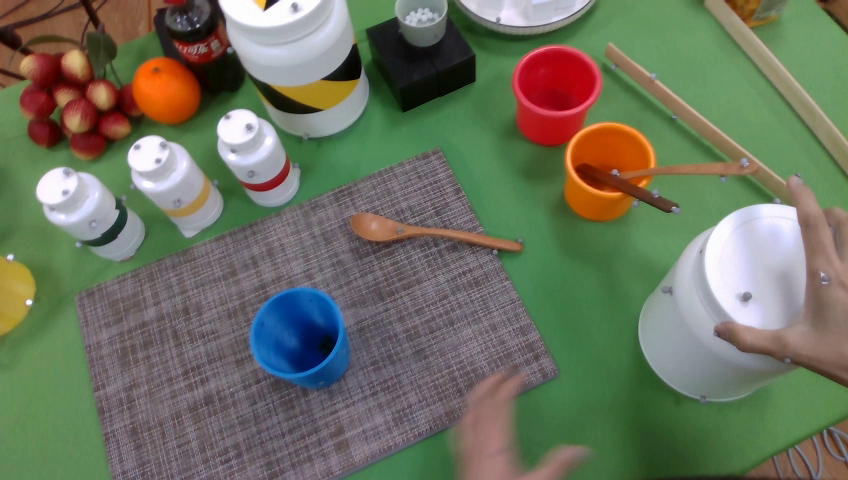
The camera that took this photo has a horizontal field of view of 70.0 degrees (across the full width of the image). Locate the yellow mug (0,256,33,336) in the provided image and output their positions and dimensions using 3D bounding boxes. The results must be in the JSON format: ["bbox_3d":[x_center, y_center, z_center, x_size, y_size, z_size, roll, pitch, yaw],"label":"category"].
[{"bbox_3d":[-0.492,0.068,0.655,0.100,0.064,0.129,-14,66,-3],"label":"yellow mug"}]

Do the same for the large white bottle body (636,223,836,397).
[{"bbox_3d":[0.273,0.059,0.534,0.130,0.186,0.129,-2,65,4],"label":"large white bottle body"}]

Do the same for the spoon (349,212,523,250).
[{"bbox_3d":[0.013,-0.007,0.670,0.193,0.022,0.041,6,42,6],"label":"spoon"}]

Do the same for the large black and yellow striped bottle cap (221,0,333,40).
[{"bbox_3d":[-0.149,-0.252,0.612,0.115,0.019,0.114,-2,66,5],"label":"large black and yellow striped bottle cap"}]

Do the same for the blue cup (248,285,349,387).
[{"bbox_3d":[-0.112,0.102,0.588,0.092,0.101,0.092,-1,65,3],"label":"blue cup"}]

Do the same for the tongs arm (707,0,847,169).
[{"bbox_3d":[0.433,-0.157,0.699,0.028,0.028,0.384,-19,67,-10],"label":"tongs arm"}]

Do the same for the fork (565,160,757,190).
[{"bbox_3d":[0.229,-0.068,0.614,0.206,0.019,0.028,0,56,54],"label":"fork"}]

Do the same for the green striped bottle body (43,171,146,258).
[{"bbox_3d":[-0.361,-0.030,0.659,0.063,0.120,0.062,-2,66,4],"label":"green striped bottle body"}]

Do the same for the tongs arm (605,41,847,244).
[{"bbox_3d":[0.358,-0.113,0.685,0.051,0.027,0.382,-35,69,-13],"label":"tongs arm"}]

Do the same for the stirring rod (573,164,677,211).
[{"bbox_3d":[0.200,-0.057,0.619,0.014,0.006,0.174,-21,23,-8],"label":"stirring rod"}]

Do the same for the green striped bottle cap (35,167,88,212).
[{"bbox_3d":[-0.366,-0.051,0.611,0.044,0.020,0.044,-1,65,3],"label":"green striped bottle cap"}]

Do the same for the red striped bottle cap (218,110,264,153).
[{"bbox_3d":[-0.189,-0.113,0.624,0.044,0.018,0.044,0,63,1],"label":"red striped bottle cap"}]

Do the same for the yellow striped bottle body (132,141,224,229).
[{"bbox_3d":[-0.273,-0.064,0.666,0.063,0.121,0.062,-2,66,5],"label":"yellow striped bottle body"}]

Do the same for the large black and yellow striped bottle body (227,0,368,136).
[{"bbox_3d":[-0.142,-0.220,0.690,0.131,0.185,0.130,-2,66,4],"label":"large black and yellow striped bottle body"}]

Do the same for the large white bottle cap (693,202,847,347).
[{"bbox_3d":[0.265,0.024,0.458,0.115,0.018,0.114,-2,65,4],"label":"large white bottle cap"}]

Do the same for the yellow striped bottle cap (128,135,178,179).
[{"bbox_3d":[-0.277,-0.085,0.619,0.044,0.019,0.044,-1,67,3],"label":"yellow striped bottle cap"}]

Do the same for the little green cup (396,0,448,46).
[{"bbox_3d":[-0.002,-0.265,0.723,0.061,0.039,0.061,-1,64,3],"label":"little green cup"}]

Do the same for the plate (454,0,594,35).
[{"bbox_3d":[0.132,-0.352,0.806,0.209,0.038,0.207,-1,67,4],"label":"plate"}]

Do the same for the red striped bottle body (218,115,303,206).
[{"bbox_3d":[-0.183,-0.091,0.672,0.063,0.121,0.062,-4,65,8],"label":"red striped bottle body"}]
